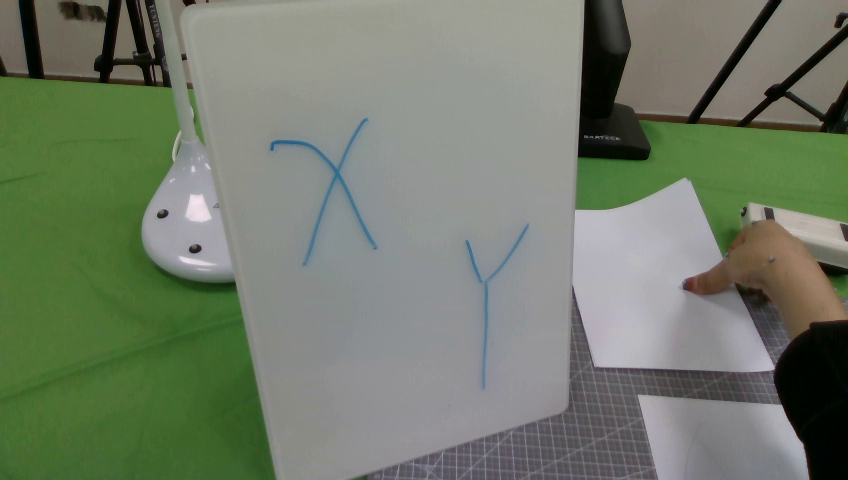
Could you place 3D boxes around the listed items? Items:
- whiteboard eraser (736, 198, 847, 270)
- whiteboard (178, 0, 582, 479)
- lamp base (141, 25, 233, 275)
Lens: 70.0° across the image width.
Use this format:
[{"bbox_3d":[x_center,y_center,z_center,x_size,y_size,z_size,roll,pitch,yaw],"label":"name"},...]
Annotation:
[{"bbox_3d":[0.377,-0.005,0.612,0.112,0.042,0.055,15,44,11],"label":"whiteboard eraser"},{"bbox_3d":[-0.024,-0.014,0.426,0.218,0.307,0.142,-11,25,-16],"label":"whiteboard"},{"bbox_3d":[-0.193,-0.087,0.543,0.177,0.182,0.160,33,48,31],"label":"lamp base"}]
